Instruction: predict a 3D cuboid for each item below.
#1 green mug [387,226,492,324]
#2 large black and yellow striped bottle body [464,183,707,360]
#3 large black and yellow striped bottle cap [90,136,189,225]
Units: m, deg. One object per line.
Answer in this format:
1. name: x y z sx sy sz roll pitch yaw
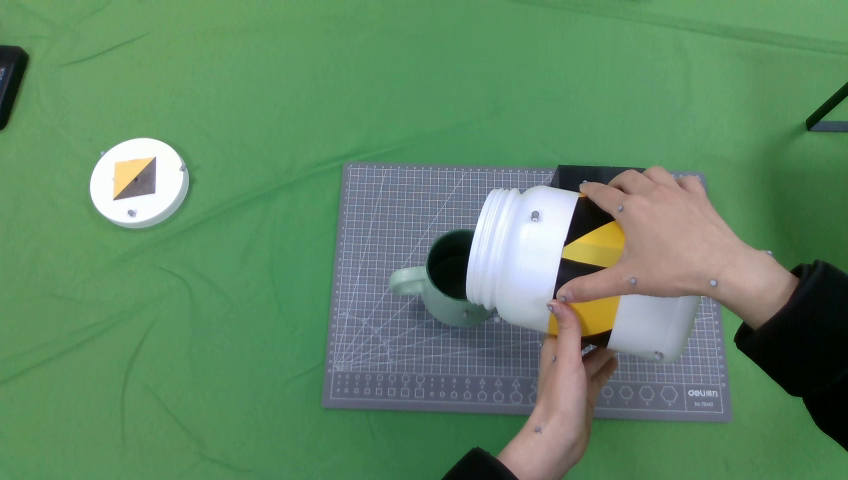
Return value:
1. green mug: 0.022 0.040 0.658 0.125 0.105 0.092 -5 72 -2
2. large black and yellow striped bottle body: 0.138 0.022 0.538 0.183 0.132 0.130 13 72 15
3. large black and yellow striped bottle cap: -0.349 -0.075 0.743 0.115 0.019 0.114 0 71 0
